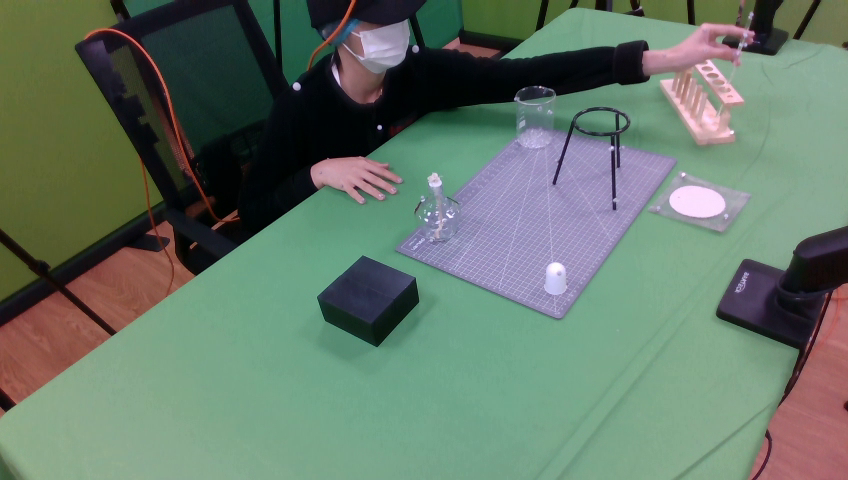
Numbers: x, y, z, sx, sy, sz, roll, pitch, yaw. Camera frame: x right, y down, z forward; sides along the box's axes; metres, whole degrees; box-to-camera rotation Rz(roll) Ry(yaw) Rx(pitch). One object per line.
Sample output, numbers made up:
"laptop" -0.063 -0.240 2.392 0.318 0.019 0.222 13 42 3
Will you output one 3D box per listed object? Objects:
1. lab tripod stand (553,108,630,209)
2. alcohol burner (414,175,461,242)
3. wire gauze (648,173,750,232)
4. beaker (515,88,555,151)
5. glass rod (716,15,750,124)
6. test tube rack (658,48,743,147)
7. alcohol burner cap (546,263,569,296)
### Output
"lab tripod stand" 0.292 -0.144 1.010 0.148 0.132 0.147 -5 38 4
"alcohol burner" 0.021 -0.055 0.963 0.078 0.119 0.077 -4 41 4
"wire gauze" 0.451 -0.062 0.990 0.120 0.011 0.125 26 49 32
"beaker" 0.213 -0.230 1.152 0.073 0.101 0.084 20 47 29
"glass rod" 0.551 -0.299 1.080 0.008 0.200 0.008 -1 37 1
"test tube rack" 0.532 -0.284 1.181 0.067 0.085 0.241 -5 40 4
"alcohol burner cap" 0.191 0.053 0.862 0.034 0.048 0.033 -5 40 4
